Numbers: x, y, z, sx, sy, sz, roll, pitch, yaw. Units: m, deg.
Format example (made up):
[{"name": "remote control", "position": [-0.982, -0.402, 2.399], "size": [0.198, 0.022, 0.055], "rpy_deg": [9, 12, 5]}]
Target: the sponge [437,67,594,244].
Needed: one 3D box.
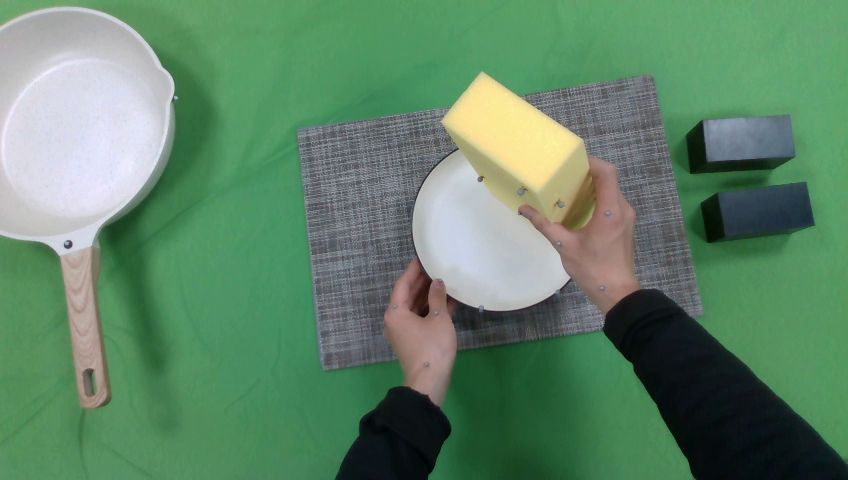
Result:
[{"name": "sponge", "position": [0.103, -0.076, 0.619], "size": [0.117, 0.208, 0.061], "rpy_deg": [40, 91, 24]}]

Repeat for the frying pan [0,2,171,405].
[{"name": "frying pan", "position": [-0.419, -0.046, 0.715], "size": [0.307, 0.103, 0.484], "rpy_deg": [-16, 73, 2]}]

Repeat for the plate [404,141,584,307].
[{"name": "plate", "position": [0.081, -0.023, 0.716], "size": [0.207, 0.039, 0.207], "rpy_deg": [0, 82, 3]}]
